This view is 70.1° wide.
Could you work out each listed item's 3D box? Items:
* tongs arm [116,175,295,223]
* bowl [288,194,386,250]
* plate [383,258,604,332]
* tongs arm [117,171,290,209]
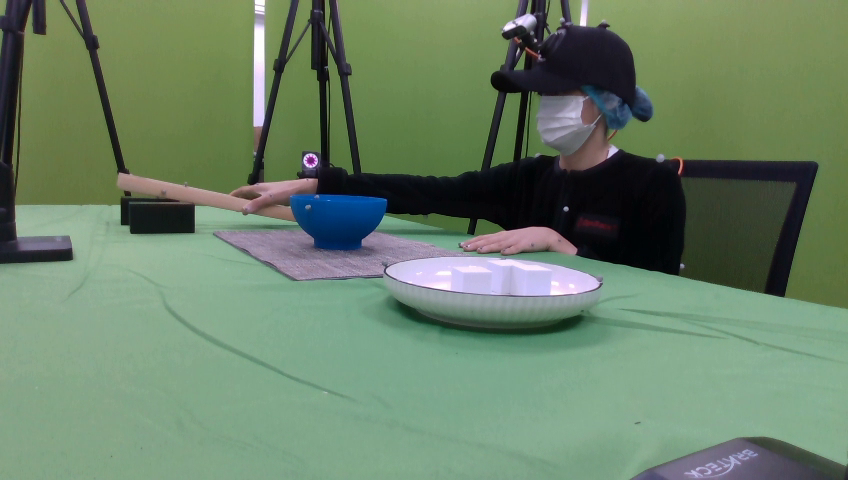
[{"bbox_3d":[-0.350,-0.065,1.109,0.390,0.027,0.028,11,-3,-37],"label":"tongs arm"},{"bbox_3d":[-0.135,-0.028,0.936,0.151,0.077,0.151,3,7,0],"label":"bowl"},{"bbox_3d":[0.064,0.051,0.582,0.209,0.038,0.209,3,7,0],"label":"plate"},{"bbox_3d":[-0.386,-0.076,1.177,0.387,0.026,0.050,12,0,-25],"label":"tongs arm"}]
